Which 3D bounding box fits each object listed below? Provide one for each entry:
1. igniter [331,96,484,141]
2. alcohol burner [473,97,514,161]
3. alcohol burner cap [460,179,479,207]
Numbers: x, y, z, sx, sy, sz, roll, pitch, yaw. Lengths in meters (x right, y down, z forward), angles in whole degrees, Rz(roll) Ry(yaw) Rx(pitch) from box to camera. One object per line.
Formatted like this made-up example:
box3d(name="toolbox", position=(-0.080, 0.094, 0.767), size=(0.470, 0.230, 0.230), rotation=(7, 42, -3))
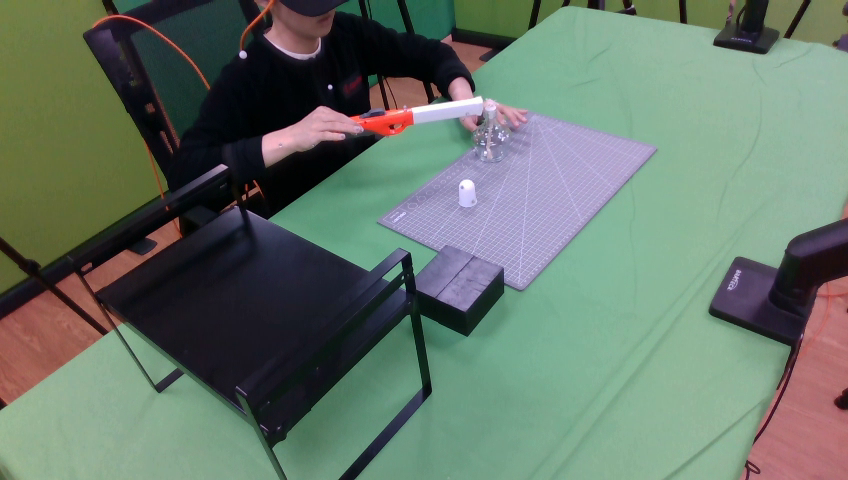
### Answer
box3d(name="igniter", position=(-0.029, -0.217, 1.074), size=(0.277, 0.057, 0.025), rotation=(-11, 49, -5))
box3d(name="alcohol burner", position=(0.128, -0.208, 1.124), size=(0.078, 0.119, 0.077), rotation=(-5, 39, 4))
box3d(name="alcohol burner cap", position=(0.078, -0.083, 1.041), size=(0.034, 0.048, 0.033), rotation=(-5, 42, 5))
